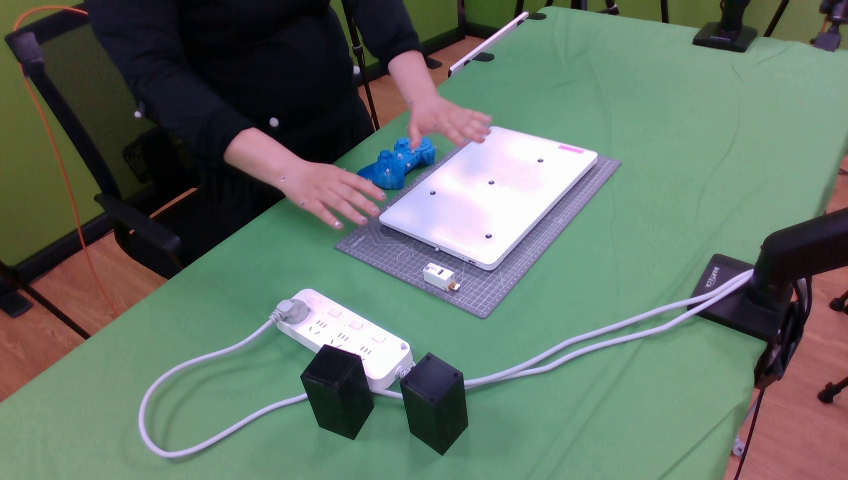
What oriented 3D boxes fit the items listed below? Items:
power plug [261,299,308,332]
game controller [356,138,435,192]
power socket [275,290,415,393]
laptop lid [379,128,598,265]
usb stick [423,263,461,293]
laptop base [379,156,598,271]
[{"bbox_3d":[-0.193,0.110,0.830,0.073,0.053,0.035,-36,47,-24],"label":"power plug"},{"bbox_3d":[-0.049,-0.149,1.136,0.096,0.052,0.155,27,51,28],"label":"game controller"},{"bbox_3d":[-0.114,0.132,0.821,0.225,0.033,0.072,24,48,32],"label":"power socket"},{"bbox_3d":[0.117,-0.095,1.048,0.239,0.013,0.358,23,49,34],"label":"laptop lid"},{"bbox_3d":[0.028,0.058,0.889,0.059,0.027,0.021,25,47,30],"label":"usb stick"},{"bbox_3d":[0.120,-0.085,1.054,0.233,0.023,0.355,21,47,34],"label":"laptop base"}]
